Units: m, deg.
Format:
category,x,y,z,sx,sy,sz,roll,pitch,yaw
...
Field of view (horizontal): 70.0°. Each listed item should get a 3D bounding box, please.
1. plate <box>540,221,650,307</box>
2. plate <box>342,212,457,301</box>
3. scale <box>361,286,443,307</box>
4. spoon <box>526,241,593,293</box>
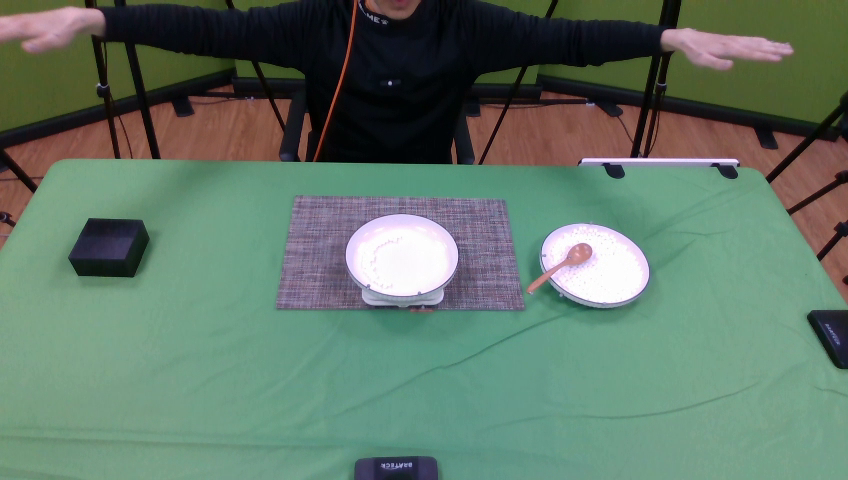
category,x,y,z,sx,sy,sz,roll,pitch,yaw
plate,0.325,0.048,1.164,0.209,0.038,0.208,2,46,-2
plate,-0.044,0.033,1.105,0.208,0.039,0.206,2,46,-2
scale,-0.042,0.040,1.143,0.149,0.032,0.199,0,46,-4
spoon,0.252,0.050,1.134,0.194,0.022,0.041,-27,53,-35
